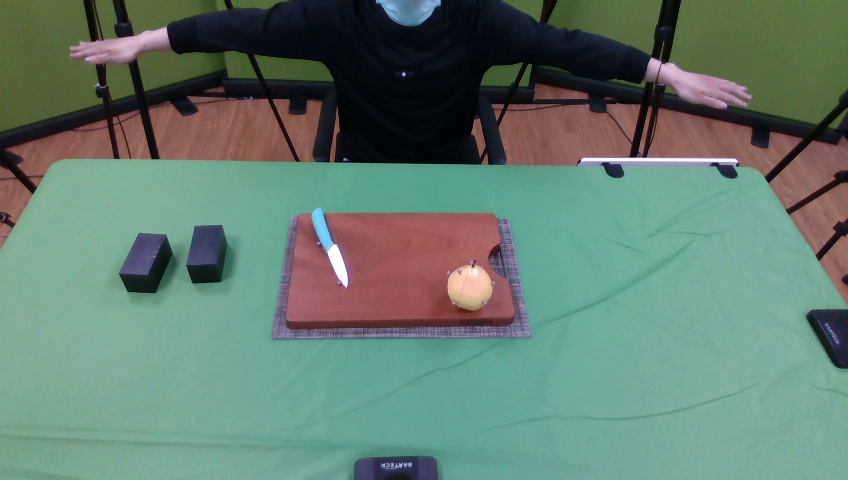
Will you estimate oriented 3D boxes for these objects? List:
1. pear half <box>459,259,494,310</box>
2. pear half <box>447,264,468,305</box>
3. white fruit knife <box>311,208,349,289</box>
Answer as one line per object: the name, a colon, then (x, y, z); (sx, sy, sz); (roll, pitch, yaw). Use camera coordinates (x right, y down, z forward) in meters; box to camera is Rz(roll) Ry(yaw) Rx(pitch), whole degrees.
pear half: (0.092, 0.072, 1.031); (0.056, 0.110, 0.076); (7, 50, 3)
pear half: (0.056, 0.073, 1.041); (0.031, 0.088, 0.070); (6, 53, 2)
white fruit knife: (-0.176, 0.013, 1.133); (0.027, 0.016, 0.206); (-24, 52, -7)
